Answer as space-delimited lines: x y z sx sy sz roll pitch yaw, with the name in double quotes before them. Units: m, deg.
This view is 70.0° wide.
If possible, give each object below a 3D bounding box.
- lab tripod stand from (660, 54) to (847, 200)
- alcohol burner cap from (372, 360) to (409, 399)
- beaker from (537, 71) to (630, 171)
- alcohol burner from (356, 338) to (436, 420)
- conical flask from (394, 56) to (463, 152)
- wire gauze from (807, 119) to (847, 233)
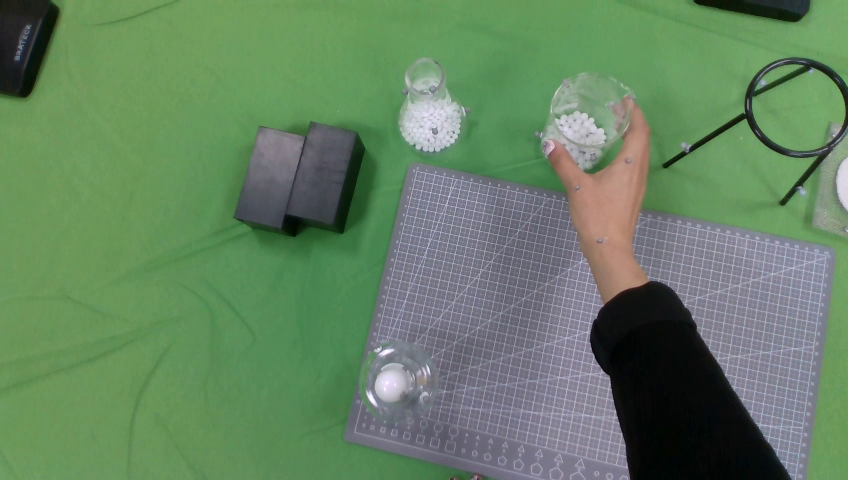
"lab tripod stand" 0.319 -0.105 0.580 0.148 0.132 0.148 0 83 4
"alcohol burner cap" -0.031 0.124 0.533 0.034 0.048 0.034 0 85 1
"beaker" 0.156 -0.115 0.607 0.084 0.100 0.073 -26 81 -1
"alcohol burner" -0.029 0.130 0.568 0.078 0.119 0.077 -1 79 5
"conical flask" 0.002 -0.140 0.607 0.075 0.122 0.075 -1 80 4
"wire gauze" 0.467 -0.055 0.627 0.125 0.011 0.121 18 83 4
